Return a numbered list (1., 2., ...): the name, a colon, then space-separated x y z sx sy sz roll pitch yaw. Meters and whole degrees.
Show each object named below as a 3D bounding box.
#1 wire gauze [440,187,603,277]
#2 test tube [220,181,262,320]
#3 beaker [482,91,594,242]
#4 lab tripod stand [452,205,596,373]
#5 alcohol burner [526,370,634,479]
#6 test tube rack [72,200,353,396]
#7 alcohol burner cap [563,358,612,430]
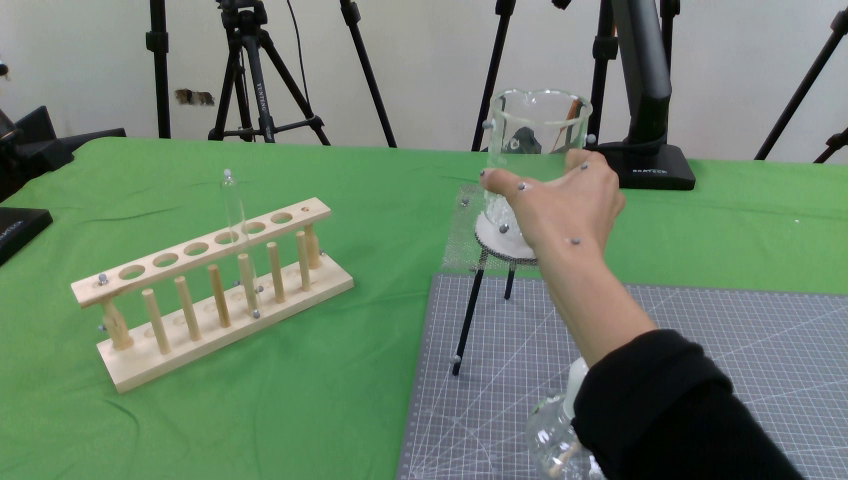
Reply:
1. wire gauze: 0.081 -0.008 0.500 0.121 0.011 0.124 5 35 7
2. test tube: -0.170 0.013 0.565 0.017 0.151 0.017 0 33 0
3. beaker: 0.082 -0.057 0.468 0.074 0.101 0.083 -1 33 -5
4. lab tripod stand: 0.091 0.047 0.538 0.148 0.132 0.147 1 33 0
5. alcohol burner: 0.112 0.131 0.430 0.078 0.120 0.077 0 36 1
6. test tube rack: -0.193 0.048 0.594 0.243 0.086 0.066 -24 40 -30
7. alcohol burner cap: 0.112 0.101 0.410 0.034 0.048 0.033 -2 33 2
